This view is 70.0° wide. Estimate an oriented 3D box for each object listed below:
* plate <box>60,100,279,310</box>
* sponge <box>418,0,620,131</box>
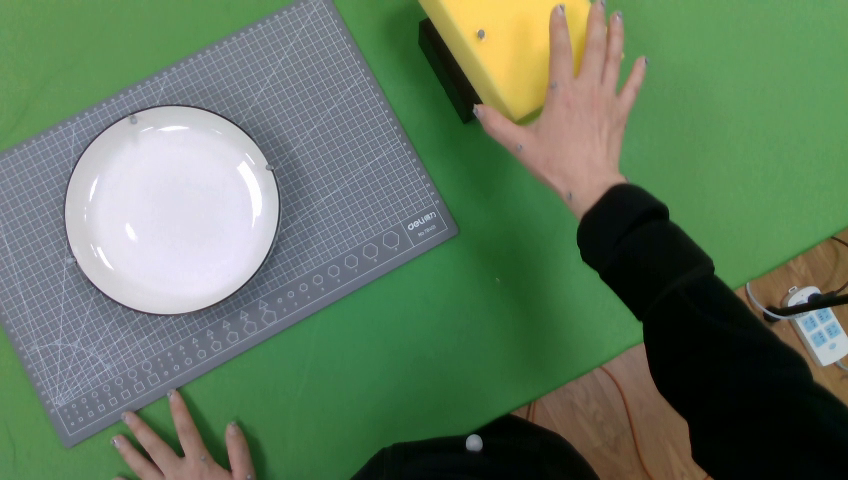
[{"bbox_3d":[-0.247,-0.034,0.604,0.209,0.038,0.208,0,86,-2],"label":"plate"},{"bbox_3d":[0.073,-0.224,0.572,0.118,0.061,0.206,-33,88,-4],"label":"sponge"}]
